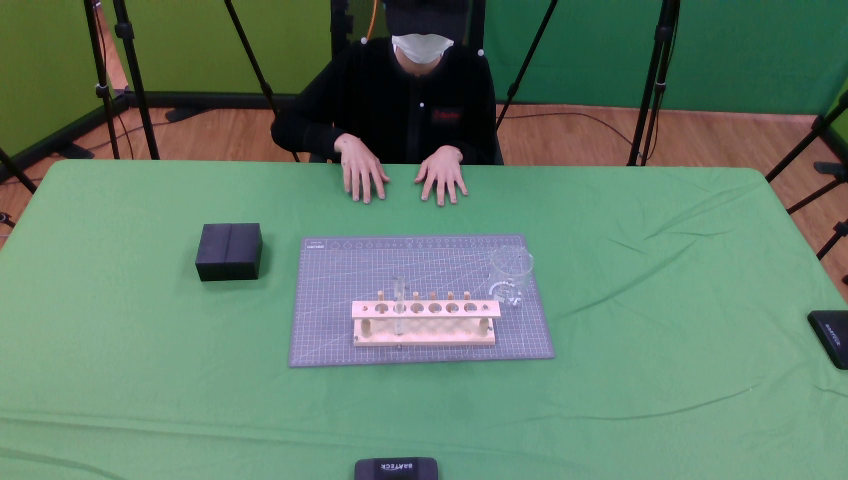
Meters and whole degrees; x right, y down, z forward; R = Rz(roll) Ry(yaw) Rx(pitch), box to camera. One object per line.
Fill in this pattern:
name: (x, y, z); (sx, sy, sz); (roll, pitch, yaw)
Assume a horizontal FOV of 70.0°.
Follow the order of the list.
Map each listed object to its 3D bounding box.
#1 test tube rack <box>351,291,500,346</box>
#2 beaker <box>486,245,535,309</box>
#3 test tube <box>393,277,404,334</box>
test tube rack: (0.001, 0.129, 1.026); (0.242, 0.085, 0.066); (0, 46, -4)
beaker: (0.149, 0.068, 1.087); (0.084, 0.101, 0.073); (13, 46, 9)
test tube: (-0.041, 0.108, 0.973); (0.017, 0.151, 0.017); (2, 50, -2)
